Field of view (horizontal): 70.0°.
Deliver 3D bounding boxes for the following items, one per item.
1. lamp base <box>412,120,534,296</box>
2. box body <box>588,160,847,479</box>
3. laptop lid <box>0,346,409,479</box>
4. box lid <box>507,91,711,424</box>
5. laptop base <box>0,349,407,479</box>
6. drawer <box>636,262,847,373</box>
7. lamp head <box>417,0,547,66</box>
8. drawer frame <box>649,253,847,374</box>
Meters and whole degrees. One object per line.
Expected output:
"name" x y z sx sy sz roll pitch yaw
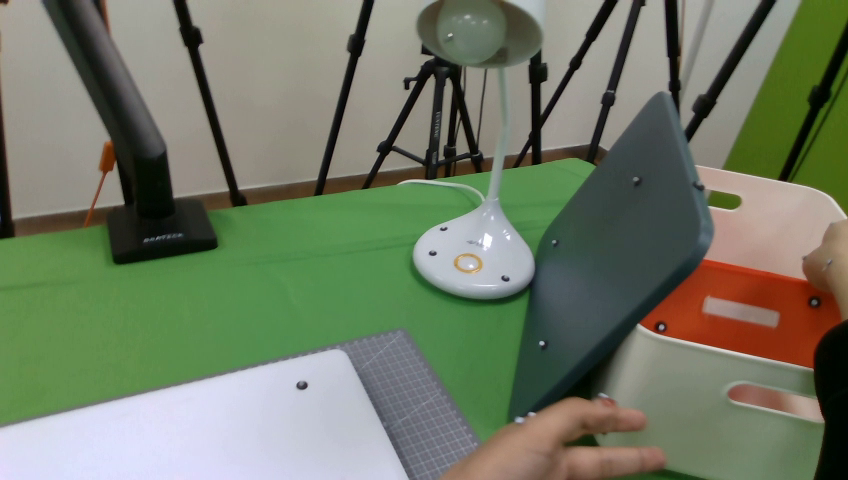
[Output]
"lamp base" 0.073 -0.050 0.756 0.160 0.181 0.178 12 31 8
"box body" 0.311 0.068 0.637 0.254 0.161 0.362 11 33 8
"laptop lid" -0.190 0.195 0.448 0.358 0.013 0.239 -9 38 -24
"box lid" 0.182 0.001 0.638 0.015 0.264 0.369 31 34 -4
"laptop base" -0.192 0.204 0.456 0.356 0.023 0.232 -10 40 -25
"drawer" 0.293 0.061 0.629 0.194 0.073 0.212 11 2 9
"lamp head" 0.057 -0.230 0.535 0.112 0.113 0.122 9 72 3
"drawer frame" 0.296 0.057 0.630 0.201 0.083 0.214 10 5 9
